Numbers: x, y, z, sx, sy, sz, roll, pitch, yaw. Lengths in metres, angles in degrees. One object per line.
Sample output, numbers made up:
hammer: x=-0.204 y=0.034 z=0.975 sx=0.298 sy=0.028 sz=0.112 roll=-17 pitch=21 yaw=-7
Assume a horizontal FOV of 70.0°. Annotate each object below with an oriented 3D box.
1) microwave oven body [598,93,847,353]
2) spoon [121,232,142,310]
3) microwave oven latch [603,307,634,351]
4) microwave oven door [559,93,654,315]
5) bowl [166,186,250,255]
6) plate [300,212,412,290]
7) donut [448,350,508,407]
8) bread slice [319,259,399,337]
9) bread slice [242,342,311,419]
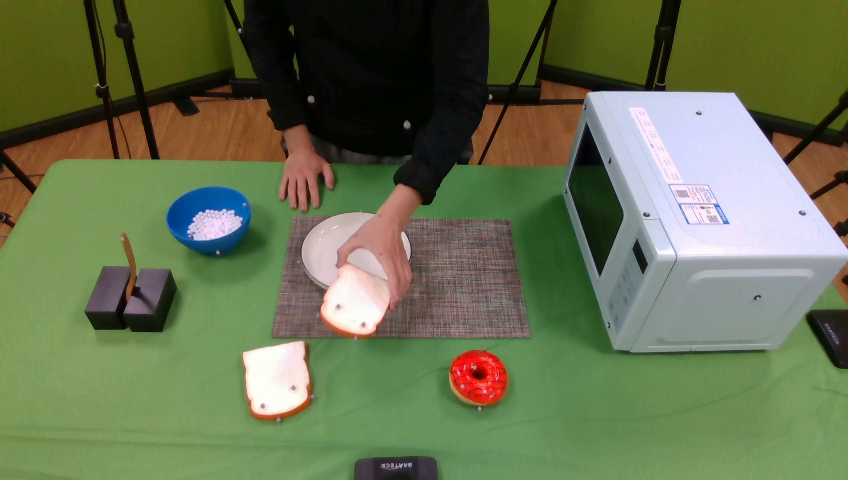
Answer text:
microwave oven body: x=0.475 y=-0.041 z=1.109 sx=0.326 sy=0.261 sz=0.438 roll=-1 pitch=45 yaw=-4
spoon: x=-0.479 y=0.051 z=0.994 sx=0.022 sy=0.194 sz=0.041 roll=13 pitch=46 yaw=-11
microwave oven latch: x=0.332 y=0.153 z=1.044 sx=0.030 sy=0.029 sz=0.078 roll=-1 pitch=45 yaw=-4
microwave oven door: x=0.327 y=-0.074 z=1.123 sx=0.039 sy=0.245 sz=0.353 roll=-1 pitch=46 yaw=-5
bowl: x=-0.403 y=-0.024 z=1.154 sx=0.151 sy=0.077 sz=0.150 roll=2 pitch=46 yaw=-2
plate: x=-0.127 y=0.031 z=1.145 sx=0.208 sy=0.039 sz=0.206 roll=3 pitch=46 yaw=-2
donut: x=0.087 y=0.223 z=0.977 sx=0.099 sy=0.048 sz=0.098 roll=4 pitch=46 yaw=-4
bread slice: x=-0.107 y=0.097 z=0.979 sx=0.107 sy=0.018 sz=0.133 roll=19 pitch=44 yaw=0
bread slice: x=-0.234 y=0.223 z=0.970 sx=0.105 sy=0.019 sz=0.130 roll=-10 pitch=46 yaw=-13
